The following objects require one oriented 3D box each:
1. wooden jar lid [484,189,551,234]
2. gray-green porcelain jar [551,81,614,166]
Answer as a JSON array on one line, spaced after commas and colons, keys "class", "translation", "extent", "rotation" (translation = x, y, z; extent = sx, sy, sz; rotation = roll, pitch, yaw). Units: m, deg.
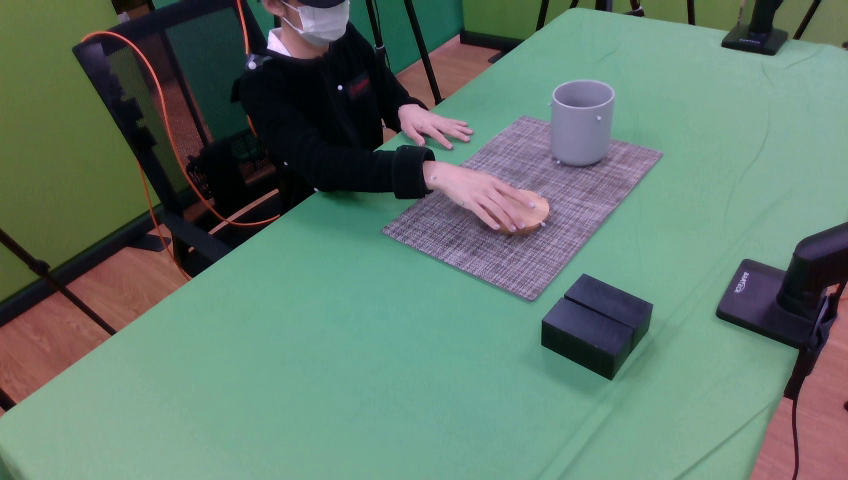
[{"class": "wooden jar lid", "translation": [0.154, -0.046, 1.001], "extent": [0.108, 0.021, 0.108], "rotation": [-3, 40, 3]}, {"class": "gray-green porcelain jar", "translation": [0.282, -0.205, 1.086], "extent": [0.106, 0.127, 0.105], "rotation": [-5, 40, 4]}]
